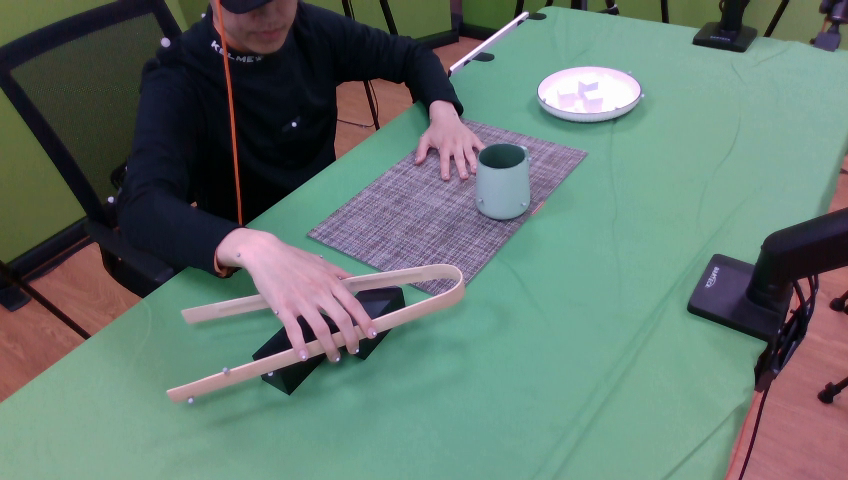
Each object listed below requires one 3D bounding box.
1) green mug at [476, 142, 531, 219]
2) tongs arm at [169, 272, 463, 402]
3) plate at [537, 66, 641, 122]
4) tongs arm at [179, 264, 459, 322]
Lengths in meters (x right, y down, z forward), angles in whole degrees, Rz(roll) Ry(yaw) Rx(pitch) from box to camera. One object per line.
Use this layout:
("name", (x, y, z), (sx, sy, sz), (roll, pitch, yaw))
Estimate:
("green mug", (0.139, -0.106, 1.002), (0.092, 0.105, 0.125), (21, 48, 30))
("tongs arm", (-0.126, 0.120, 0.769), (0.386, 0.026, 0.050), (-17, 36, -8))
("plate", (0.338, -0.299, 1.255), (0.209, 0.038, 0.208), (-4, 41, 4))
("tongs arm", (-0.143, 0.075, 0.830), (0.388, 0.028, 0.028), (-9, 33, 1))
